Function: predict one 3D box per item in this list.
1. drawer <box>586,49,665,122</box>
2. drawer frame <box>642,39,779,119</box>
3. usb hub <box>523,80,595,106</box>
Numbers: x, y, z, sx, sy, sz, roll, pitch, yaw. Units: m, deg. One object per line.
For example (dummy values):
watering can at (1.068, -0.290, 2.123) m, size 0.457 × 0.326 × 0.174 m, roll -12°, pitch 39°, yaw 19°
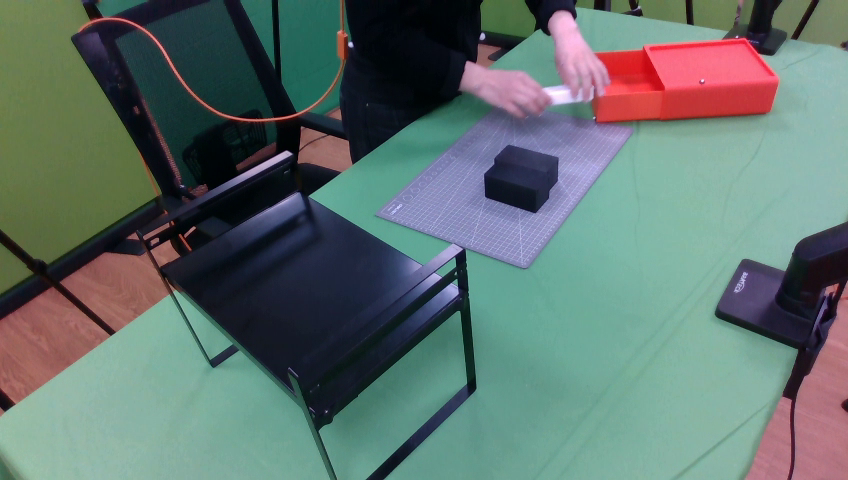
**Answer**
drawer at (0.447, -0.324, 1.242) m, size 0.211 × 0.073 × 0.193 m, roll -1°, pitch 40°, yaw 7°
drawer frame at (0.564, -0.329, 1.227) m, size 0.213 × 0.083 × 0.201 m, roll -2°, pitch 40°, yaw 5°
usb hub at (0.253, -0.275, 1.133) m, size 0.125 × 0.025 × 0.049 m, roll -9°, pitch 27°, yaw -4°
